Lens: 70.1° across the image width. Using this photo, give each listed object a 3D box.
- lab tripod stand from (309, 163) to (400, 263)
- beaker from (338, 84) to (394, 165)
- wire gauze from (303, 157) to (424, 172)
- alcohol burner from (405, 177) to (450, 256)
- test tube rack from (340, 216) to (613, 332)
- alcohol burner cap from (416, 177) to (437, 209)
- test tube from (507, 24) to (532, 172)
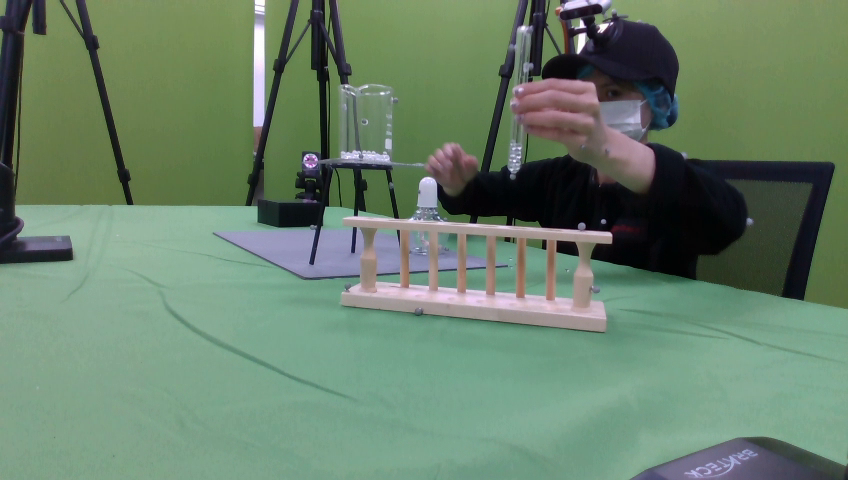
[{"bbox_3d":[-0.091,-0.037,0.813,0.148,0.131,0.148,1,6,0],"label":"lab tripod stand"},{"bbox_3d":[-0.077,-0.149,0.792,0.074,0.100,0.084,2,6,9],"label":"beaker"},{"bbox_3d":[-0.082,-0.101,0.799,0.126,0.011,0.121,1,7,-30],"label":"wire gauze"},{"bbox_3d":[0.004,-0.036,0.917,0.078,0.119,0.078,3,6,0],"label":"alcohol burner"},{"bbox_3d":[0.047,0.026,0.568,0.242,0.085,0.067,4,7,13],"label":"test tube rack"},{"bbox_3d":[0.005,-0.072,0.914,0.034,0.048,0.034,3,9,0],"label":"alcohol burner cap"},{"bbox_3d":[0.100,-0.147,0.629,0.017,0.150,0.017,3,9,0],"label":"test tube"}]
